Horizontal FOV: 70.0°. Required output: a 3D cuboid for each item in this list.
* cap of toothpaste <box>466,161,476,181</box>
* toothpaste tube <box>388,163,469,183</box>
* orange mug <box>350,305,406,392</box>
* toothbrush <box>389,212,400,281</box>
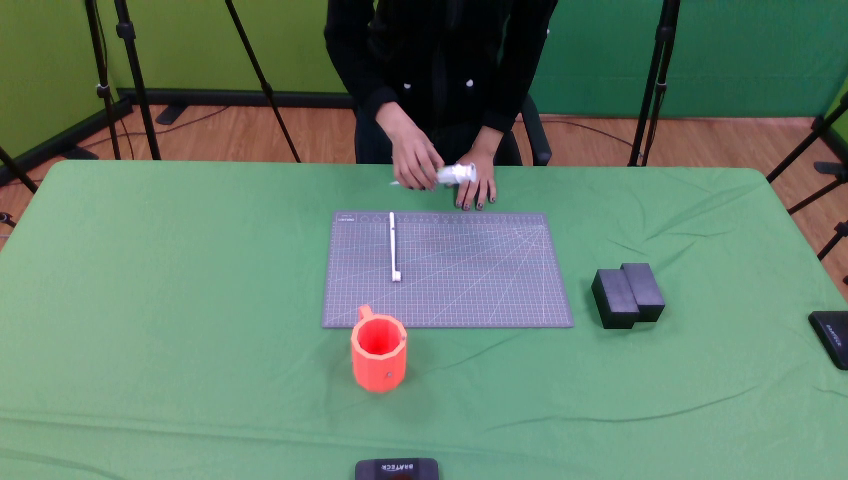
[{"bbox_3d":[0.084,-0.124,1.087,0.011,0.037,0.037,0,44,19],"label":"cap of toothpaste"},{"bbox_3d":[0.015,-0.120,1.130,0.164,0.034,0.055,-3,8,30],"label":"toothpaste tube"},{"bbox_3d":[-0.080,0.168,0.978,0.083,0.101,0.125,-16,54,-18],"label":"orange mug"},{"bbox_3d":[-0.059,0.010,1.186,0.017,0.014,0.180,2,46,-8],"label":"toothbrush"}]
